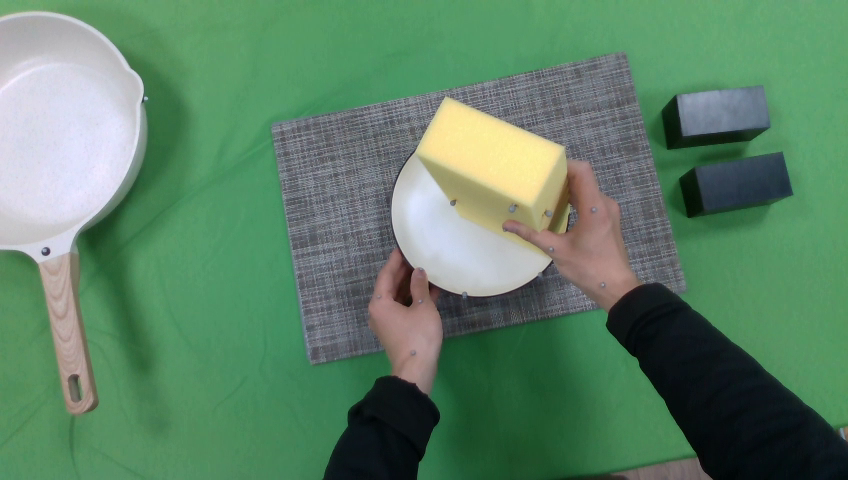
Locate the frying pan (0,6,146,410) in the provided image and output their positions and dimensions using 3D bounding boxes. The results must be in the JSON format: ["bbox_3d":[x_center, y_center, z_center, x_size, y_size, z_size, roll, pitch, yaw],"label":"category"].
[{"bbox_3d":[-0.442,-0.039,0.709,0.307,0.103,0.484,-19,74,2],"label":"frying pan"}]

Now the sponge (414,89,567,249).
[{"bbox_3d":[0.078,-0.062,0.614,0.117,0.208,0.061,26,85,19],"label":"sponge"}]

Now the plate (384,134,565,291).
[{"bbox_3d":[0.059,-0.041,0.713,0.207,0.039,0.207,0,83,3],"label":"plate"}]
